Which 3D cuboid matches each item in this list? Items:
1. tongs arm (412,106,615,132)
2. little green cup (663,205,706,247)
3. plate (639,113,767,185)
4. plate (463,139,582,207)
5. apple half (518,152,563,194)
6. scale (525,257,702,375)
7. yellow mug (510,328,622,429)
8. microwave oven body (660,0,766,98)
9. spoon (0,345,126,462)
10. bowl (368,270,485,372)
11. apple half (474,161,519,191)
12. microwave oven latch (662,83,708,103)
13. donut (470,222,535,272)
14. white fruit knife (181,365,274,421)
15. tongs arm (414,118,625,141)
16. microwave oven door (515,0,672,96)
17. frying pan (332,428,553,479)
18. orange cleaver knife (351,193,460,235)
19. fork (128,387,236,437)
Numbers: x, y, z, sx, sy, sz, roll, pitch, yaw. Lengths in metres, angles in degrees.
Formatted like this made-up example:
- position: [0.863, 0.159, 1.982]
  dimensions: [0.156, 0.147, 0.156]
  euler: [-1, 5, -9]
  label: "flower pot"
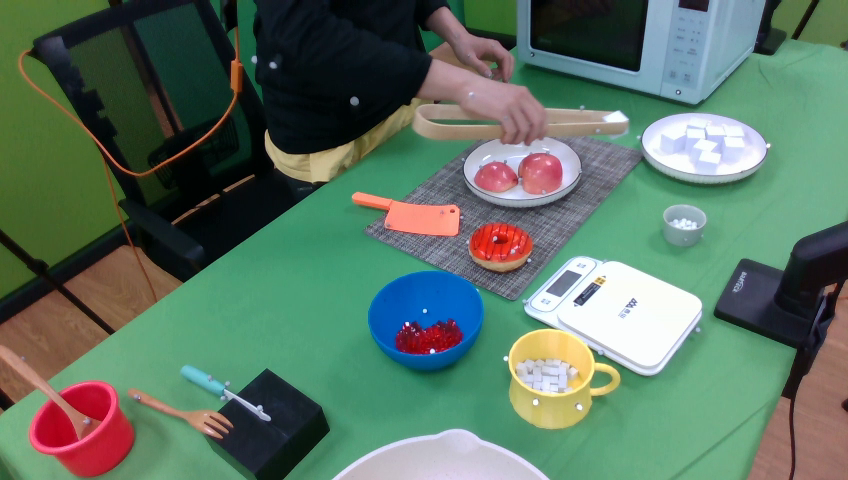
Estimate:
- position: [0.157, -0.188, 0.957]
  dimensions: [0.387, 0.026, 0.050]
  euler: [-2, 46, -24]
  label: "tongs arm"
- position: [0.396, -0.020, 0.926]
  dimensions: [0.061, 0.039, 0.061]
  euler: [-4, 40, 4]
  label: "little green cup"
- position: [0.489, -0.157, 1.074]
  dimensions: [0.207, 0.039, 0.206]
  euler: [-4, 40, 4]
  label: "plate"
- position: [0.173, -0.119, 1.071]
  dimensions: [0.209, 0.038, 0.208]
  euler: [-4, 40, 4]
  label: "plate"
- position: [0.203, -0.123, 1.047]
  dimensions: [0.075, 0.053, 0.080]
  euler: [-2, 41, 1]
  label: "apple half"
- position: [0.254, 0.091, 0.821]
  dimensions: [0.199, 0.032, 0.149]
  euler: [28, 51, 35]
  label: "scale"
- position: [0.168, 0.164, 0.721]
  dimensions: [0.130, 0.064, 0.099]
  euler: [0, 40, 8]
  label: "yellow mug"
- position: [0.472, -0.513, 1.317]
  dimensions: [0.438, 0.261, 0.327]
  euler: [26, 51, 34]
  label: "microwave oven body"
- position: [-0.434, 0.192, 0.720]
  dimensions: [0.194, 0.021, 0.042]
  euler: [47, 53, -6]
  label: "spoon"
- position: [0.007, 0.118, 0.791]
  dimensions: [0.151, 0.077, 0.150]
  euler: [-4, 40, 4]
  label: "bowl"
- position: [0.130, -0.119, 1.067]
  dimensions: [0.081, 0.033, 0.081]
  euler: [-4, 35, 3]
  label: "apple half"
- position: [0.518, -0.296, 1.204]
  dimensions: [0.078, 0.029, 0.030]
  euler: [28, 52, 35]
  label: "microwave oven latch"
- position: [0.119, 0.009, 0.923]
  dimensions: [0.099, 0.048, 0.098]
  euler: [-4, 38, 4]
  label: "donut"
- position: [-0.245, 0.187, 0.747]
  dimensions: [0.205, 0.027, 0.016]
  euler: [9, 41, 40]
  label: "white fruit knife"
- position: [0.165, -0.173, 0.943]
  dimensions: [0.390, 0.028, 0.028]
  euler: [-6, 51, -27]
  label: "tongs arm"
- position: [0.343, -0.455, 1.259]
  dimensions: [0.353, 0.245, 0.039]
  euler: [26, 51, 33]
  label: "microwave oven door"
- position: [-0.089, 0.306, 0.564]
  dimensions: [0.487, 0.103, 0.306]
  euler: [10, 41, 7]
  label: "frying pan"
- position: [-0.036, -0.044, 1.029]
  dimensions: [0.210, 0.012, 0.077]
  euler: [10, 48, 18]
  label: "orange cleaver knife"
- position: [-0.305, 0.207, 0.744]
  dimensions: [0.206, 0.019, 0.028]
  euler: [3, 41, 36]
  label: "fork"
